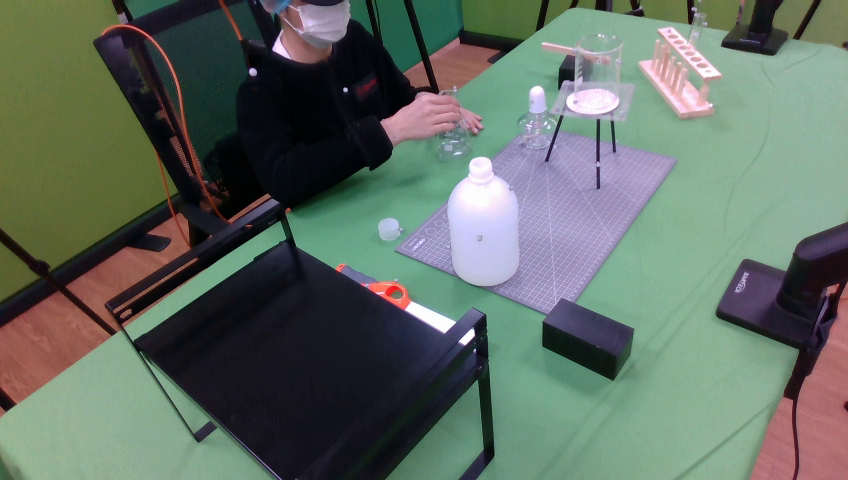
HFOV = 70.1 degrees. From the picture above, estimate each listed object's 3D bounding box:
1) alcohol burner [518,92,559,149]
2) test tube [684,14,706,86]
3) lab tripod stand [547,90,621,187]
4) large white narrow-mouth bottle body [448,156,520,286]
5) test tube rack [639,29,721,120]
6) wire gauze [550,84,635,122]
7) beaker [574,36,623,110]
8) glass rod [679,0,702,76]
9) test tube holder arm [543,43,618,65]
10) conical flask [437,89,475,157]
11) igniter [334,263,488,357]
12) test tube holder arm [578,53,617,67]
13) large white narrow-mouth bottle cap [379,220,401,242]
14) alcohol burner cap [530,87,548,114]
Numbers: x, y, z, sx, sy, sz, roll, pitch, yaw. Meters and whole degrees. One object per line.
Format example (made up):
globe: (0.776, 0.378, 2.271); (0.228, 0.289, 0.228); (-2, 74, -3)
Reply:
alcohol burner: (0.218, -0.235, 1.149); (0.078, 0.119, 0.077); (-5, 43, 5)
test tube: (0.540, -0.378, 1.215); (0.017, 0.151, 0.017); (-2, 44, 3)
lab tripod stand: (0.289, -0.184, 1.062); (0.148, 0.132, 0.147); (-6, 41, 6)
large white narrow-mouth bottle body: (0.086, -0.032, 0.869); (0.102, 0.195, 0.101); (-4, 40, 4)
test tube rack: (0.527, -0.351, 1.262); (0.067, 0.085, 0.241); (-8, 40, 1)
wire gauze: (0.285, -0.234, 1.021); (0.124, 0.011, 0.121); (8, 41, 23)
beaker: (0.285, -0.273, 0.990); (0.073, 0.101, 0.084); (15, 46, 27)
glass rod: (0.543, -0.417, 1.233); (0.008, 0.200, 0.008); (1, 39, 0)
test tube holder arm: (0.345, -0.413, 1.341); (0.177, 0.015, 0.013); (25, 50, 32)
conical flask: (0.056, -0.226, 1.160); (0.075, 0.122, 0.075); (-6, 39, 5)
igniter: (-0.030, 0.095, 0.872); (0.274, 0.025, 0.057); (23, 59, 31)
test tube holder arm: (0.376, -0.393, 1.314); (0.087, 0.015, 0.010); (26, 50, 32)
large white narrow-mouth bottle cap: (-0.057, -0.015, 1.011); (0.038, 0.024, 0.037); (-4, 40, 4)
alcohol burner cap: (0.212, -0.262, 1.126); (0.034, 0.048, 0.033); (-9, 36, 7)
